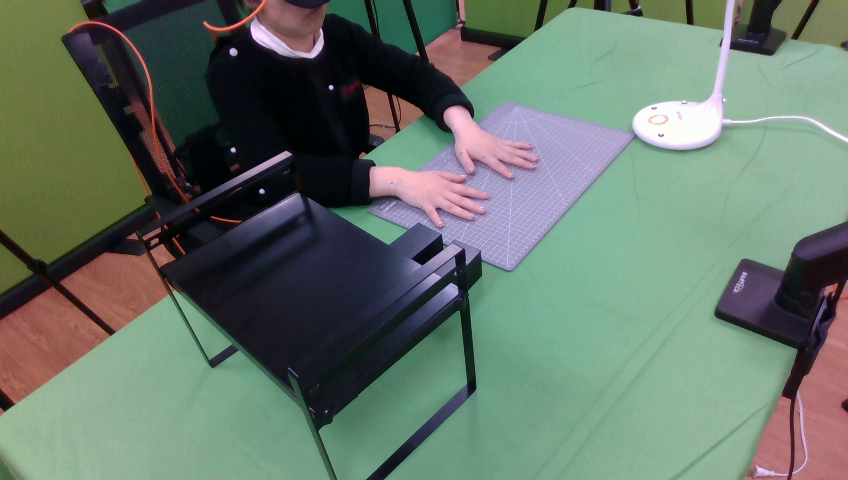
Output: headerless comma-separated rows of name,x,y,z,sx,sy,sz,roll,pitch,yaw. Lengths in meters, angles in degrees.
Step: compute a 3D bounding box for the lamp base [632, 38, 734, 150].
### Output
lamp base,0.486,-0.280,1.108,0.179,0.181,0.159,-5,41,-1
